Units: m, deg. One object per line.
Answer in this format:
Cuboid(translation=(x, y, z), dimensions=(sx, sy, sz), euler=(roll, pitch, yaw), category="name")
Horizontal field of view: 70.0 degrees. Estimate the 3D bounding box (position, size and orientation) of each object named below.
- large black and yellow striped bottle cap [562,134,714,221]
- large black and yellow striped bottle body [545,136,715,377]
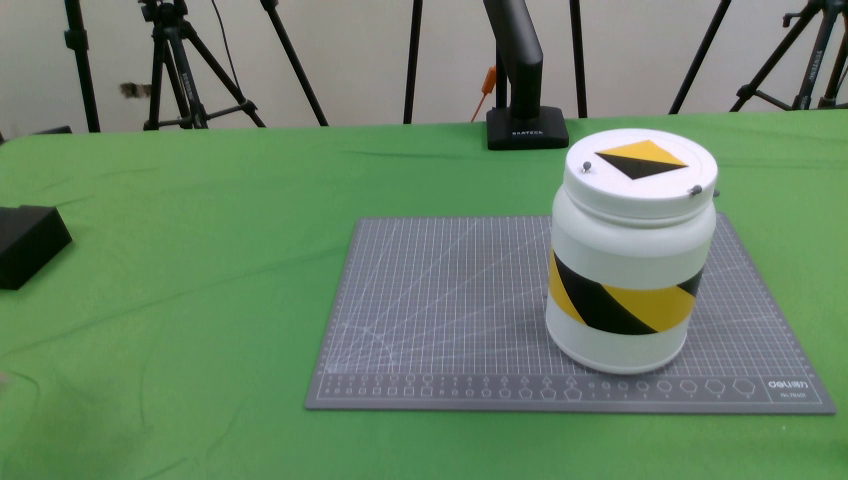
Cuboid(translation=(0.169, -0.053, 0.484), dimensions=(0.115, 0.019, 0.114), euler=(-2, 35, 2), category="large black and yellow striped bottle cap")
Cuboid(translation=(0.177, 0.015, 0.534), dimensions=(0.131, 0.185, 0.129), euler=(-3, 37, 3), category="large black and yellow striped bottle body")
